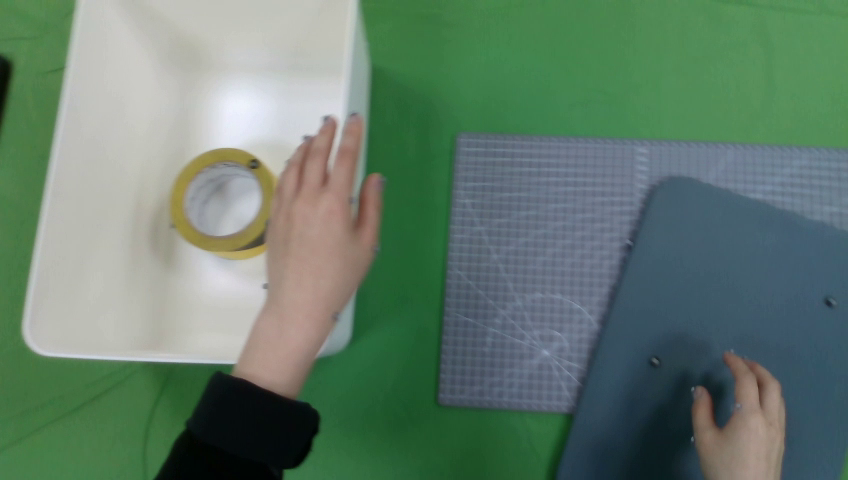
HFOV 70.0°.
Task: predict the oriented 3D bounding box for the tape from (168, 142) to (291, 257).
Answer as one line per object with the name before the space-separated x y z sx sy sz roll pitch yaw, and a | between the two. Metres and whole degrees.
tape | -0.204 -0.041 0.643 0.117 0.053 0.116 0 81 3

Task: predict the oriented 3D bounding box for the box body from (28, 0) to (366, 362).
box body | -0.194 -0.068 0.598 0.254 0.161 0.362 1 80 2

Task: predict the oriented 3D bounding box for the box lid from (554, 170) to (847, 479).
box lid | 0.309 0.127 0.617 0.263 0.015 0.370 20 82 5
